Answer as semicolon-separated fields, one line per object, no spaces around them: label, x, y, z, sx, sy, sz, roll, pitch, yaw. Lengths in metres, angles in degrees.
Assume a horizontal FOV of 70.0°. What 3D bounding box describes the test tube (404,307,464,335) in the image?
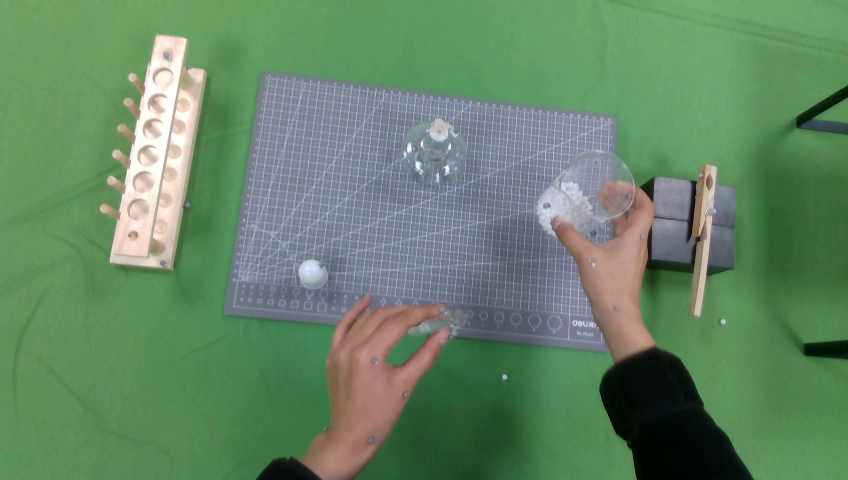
test tube;0.006;0.077;0.564;0.017;0.150;0.017;3;77;-16

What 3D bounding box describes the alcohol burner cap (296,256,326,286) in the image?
alcohol burner cap;-0.129;0.033;0.684;0.034;0.048;0.033;1;80;-6

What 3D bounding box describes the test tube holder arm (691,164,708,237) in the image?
test tube holder arm;0.322;-0.046;0.710;0.010;0.015;0.087;9;80;-2

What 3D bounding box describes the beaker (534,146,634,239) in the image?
beaker;0.162;-0.045;0.644;0.084;0.100;0.073;1;75;-9

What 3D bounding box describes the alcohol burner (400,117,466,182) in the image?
alcohol burner;0.011;-0.109;0.688;0.078;0.119;0.077;1;79;-3

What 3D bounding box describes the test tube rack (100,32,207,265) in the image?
test tube rack;-0.305;-0.100;0.672;0.067;0.085;0.241;6;79;-4

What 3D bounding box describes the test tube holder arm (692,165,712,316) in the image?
test tube holder arm;0.322;-0.001;0.702;0.013;0.015;0.177;7;80;-2
